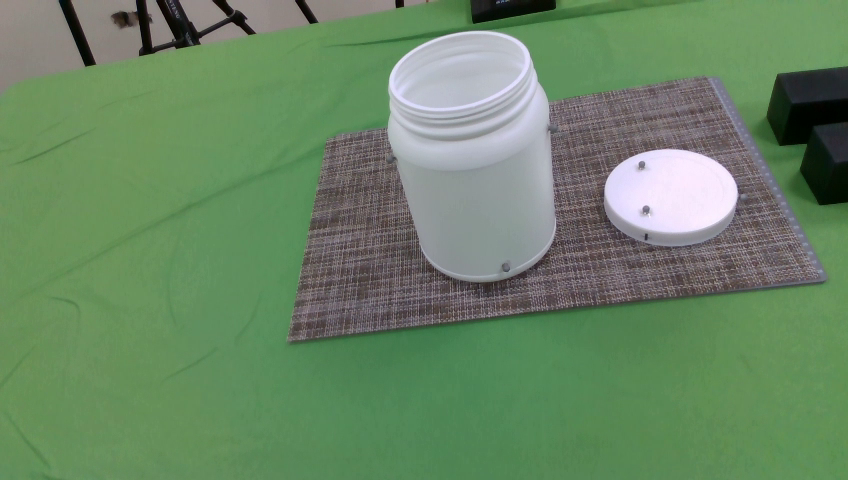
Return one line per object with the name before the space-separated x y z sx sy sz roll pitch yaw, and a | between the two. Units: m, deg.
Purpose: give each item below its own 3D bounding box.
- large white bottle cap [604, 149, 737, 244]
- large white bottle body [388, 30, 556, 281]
large white bottle cap | 0.227 -0.043 0.563 0.115 0.018 0.113 -8 46 8
large white bottle body | 0.043 -0.068 0.518 0.130 0.186 0.129 -8 46 8
